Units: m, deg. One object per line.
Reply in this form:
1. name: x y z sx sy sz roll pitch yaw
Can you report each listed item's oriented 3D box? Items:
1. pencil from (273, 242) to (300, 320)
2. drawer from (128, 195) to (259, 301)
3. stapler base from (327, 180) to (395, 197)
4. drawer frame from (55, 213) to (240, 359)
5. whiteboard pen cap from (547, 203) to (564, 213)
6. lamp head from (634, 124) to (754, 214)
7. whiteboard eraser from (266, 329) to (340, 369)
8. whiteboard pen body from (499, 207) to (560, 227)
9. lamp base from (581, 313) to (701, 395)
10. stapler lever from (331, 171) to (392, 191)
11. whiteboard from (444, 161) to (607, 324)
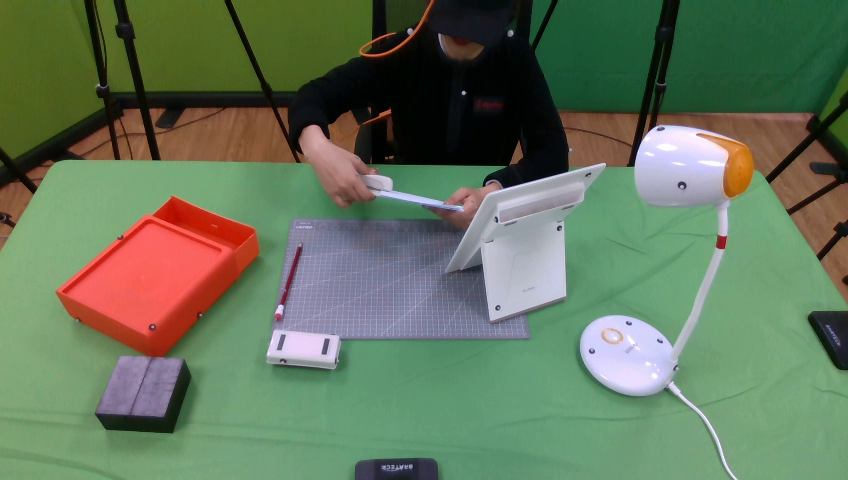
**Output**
1. pencil: -0.249 0.071 1.115 0.012 0.012 0.193 5 43 1
2. drawer: -0.442 0.033 1.093 0.194 0.073 0.211 21 49 15
3. stapler base: -0.121 -0.104 1.179 0.130 0.024 0.041 8 5 1
4. drawer frame: -0.469 0.072 1.050 0.201 0.083 0.213 21 49 14
5. whiteboard pen cap: 0.277 -0.066 1.275 0.033 0.018 0.018 -18 50 -15
6. lamp head: 0.351 -0.089 0.776 0.112 0.113 0.122 -30 30 -28
7. whiteboard eraser: -0.198 0.181 0.994 0.113 0.042 0.055 5 45 1
8. whiteboard pen body: 0.222 -0.051 1.259 0.141 0.017 0.017 -15 49 -16
9. lamp base: 0.361 0.144 0.973 0.178 0.181 0.160 34 53 23
10. stapler lever: -0.119 -0.121 1.177 0.118 0.040 0.027 15 5 0
11. whiteboard: 0.186 0.025 1.029 0.217 0.306 0.143 -15 68 -18
